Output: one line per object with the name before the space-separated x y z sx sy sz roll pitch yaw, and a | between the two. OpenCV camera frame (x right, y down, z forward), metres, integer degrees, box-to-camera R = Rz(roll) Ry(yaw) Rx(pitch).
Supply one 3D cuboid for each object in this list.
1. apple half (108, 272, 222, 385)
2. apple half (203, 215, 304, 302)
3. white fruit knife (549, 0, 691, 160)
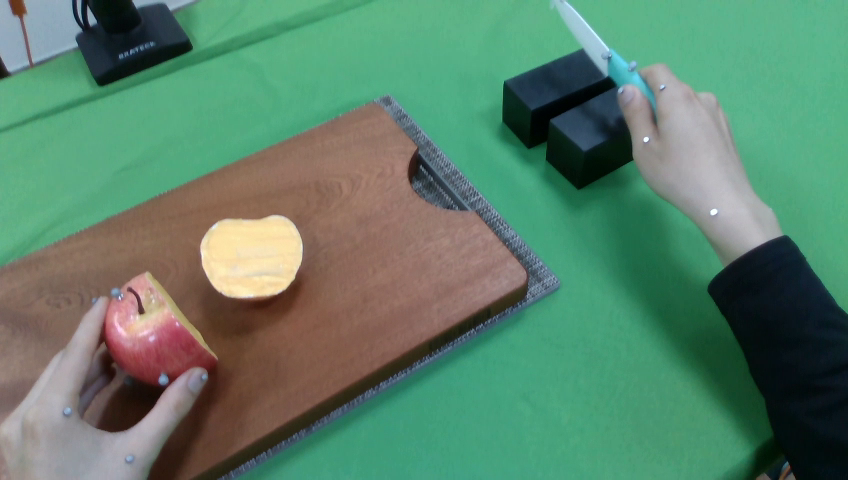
apple half | -0.187 0.071 0.428 0.053 0.075 0.080 -40 63 -17
apple half | -0.135 0.019 0.486 0.081 0.033 0.080 3 63 -6
white fruit knife | 0.162 -0.152 0.523 0.016 0.027 0.205 -22 64 -17
